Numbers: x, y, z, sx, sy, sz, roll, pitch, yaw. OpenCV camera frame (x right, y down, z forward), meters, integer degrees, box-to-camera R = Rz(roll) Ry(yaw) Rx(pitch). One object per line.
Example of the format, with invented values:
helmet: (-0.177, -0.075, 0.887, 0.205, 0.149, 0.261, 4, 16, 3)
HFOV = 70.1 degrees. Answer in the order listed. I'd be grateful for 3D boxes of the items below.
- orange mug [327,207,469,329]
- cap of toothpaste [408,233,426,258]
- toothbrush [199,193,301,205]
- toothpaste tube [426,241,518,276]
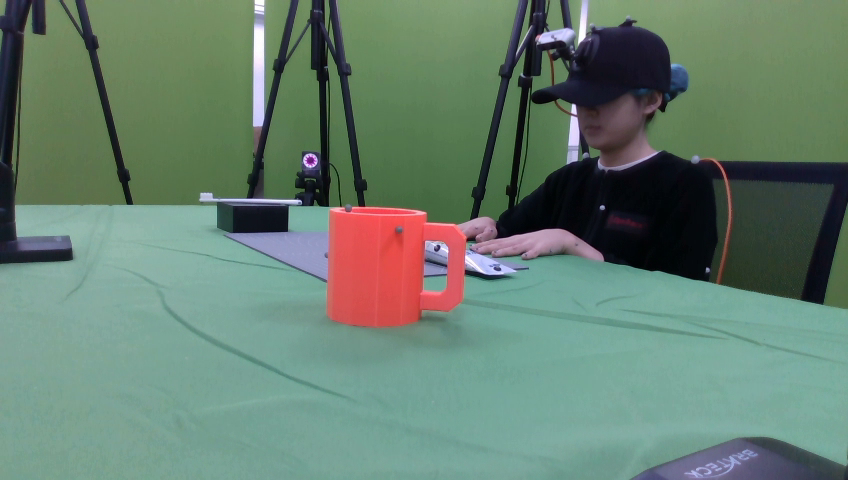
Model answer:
orange mug: (-0.024, 0.021, 0.535, 0.126, 0.100, 0.083, -1, 6, 8)
cap of toothpaste: (-0.008, 0.008, 0.864, 0.011, 0.037, 0.037, 8, 9, 38)
toothbrush: (-0.323, -0.076, 1.129, 0.182, 0.016, 0.014, 2, 5, -15)
toothpaste tube: (0.045, 0.024, 0.805, 0.055, 0.034, 0.164, -10, 18, -41)
